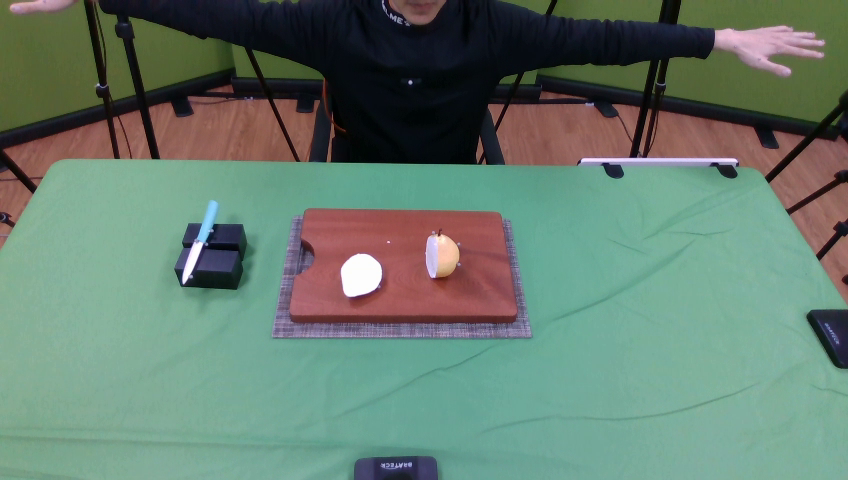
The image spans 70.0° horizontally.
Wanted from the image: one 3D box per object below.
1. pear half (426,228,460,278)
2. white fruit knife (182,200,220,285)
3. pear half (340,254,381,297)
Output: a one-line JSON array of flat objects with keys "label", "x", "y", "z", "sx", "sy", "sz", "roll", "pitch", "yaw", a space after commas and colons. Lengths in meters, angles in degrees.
[{"label": "pear half", "x": 0.037, "y": 0.016, "z": 1.082, "sx": 0.056, "sy": 0.110, "sz": 0.076, "roll": -13, "pitch": 52, "yaw": -15}, {"label": "white fruit knife", "x": -0.406, "y": 0.001, "z": 1.103, "sx": 0.027, "sy": 0.016, "sz": 0.206, "roll": -12, "pitch": 47, "yaw": 16}, {"label": "pear half", "x": -0.116, "y": 0.068, "z": 1.074, "sx": 0.070, "sy": 0.031, "sz": 0.088, "roll": 31, "pitch": 64, "yaw": 4}]
